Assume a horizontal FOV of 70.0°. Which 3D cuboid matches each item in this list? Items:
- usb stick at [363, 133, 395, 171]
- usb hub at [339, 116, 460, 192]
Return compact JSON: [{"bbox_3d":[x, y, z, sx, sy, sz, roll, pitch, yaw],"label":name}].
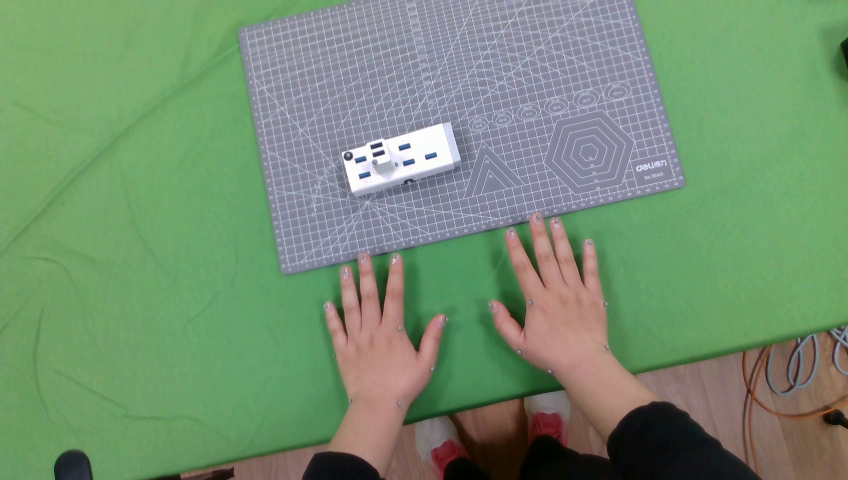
[{"bbox_3d":[-0.046,-0.090,0.637,0.021,0.059,0.027,-20,79,3],"label":"usb stick"},{"bbox_3d":[-0.027,-0.095,0.665,0.125,0.025,0.049,-16,81,2],"label":"usb hub"}]
